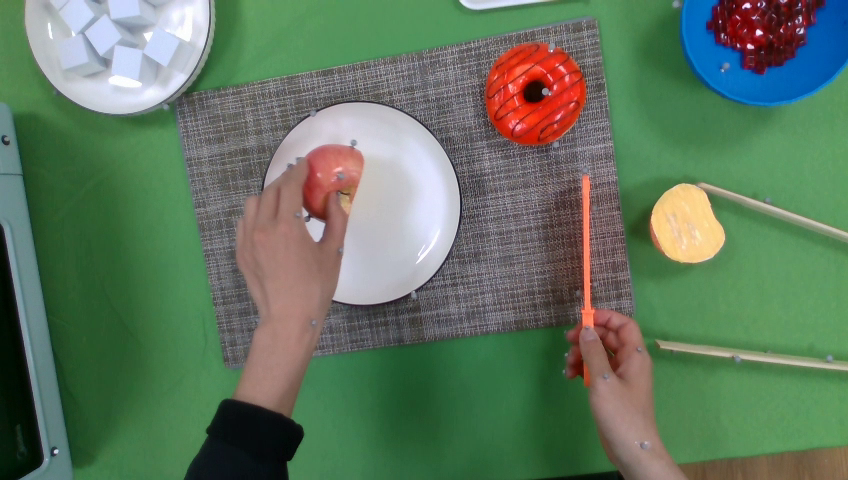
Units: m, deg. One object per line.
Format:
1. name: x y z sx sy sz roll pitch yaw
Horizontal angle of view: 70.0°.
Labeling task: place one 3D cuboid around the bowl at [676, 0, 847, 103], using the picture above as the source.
1. bowl: 0.299 -0.196 0.551 0.151 0.077 0.151 1 97 7

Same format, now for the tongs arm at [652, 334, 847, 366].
1. tongs arm: 0.423 0.101 0.590 0.384 0.026 0.051 7 93 5

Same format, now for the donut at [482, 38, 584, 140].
1. donut: 0.105 -0.147 0.592 0.099 0.048 0.099 1 97 9

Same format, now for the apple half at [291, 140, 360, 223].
1. apple half: -0.102 -0.062 0.592 0.054 0.074 0.081 11 115 -25

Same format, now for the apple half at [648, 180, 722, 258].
1. apple half: 0.248 -0.017 0.595 0.081 0.033 0.081 3 78 -14

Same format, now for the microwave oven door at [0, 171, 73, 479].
1. microwave oven door: -0.454 0.112 0.569 0.039 0.243 0.356 -6 95 7

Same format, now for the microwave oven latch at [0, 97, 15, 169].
1. microwave oven latch: -0.464 -0.115 0.649 0.030 0.029 0.079 -4 96 7

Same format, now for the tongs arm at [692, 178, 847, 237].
1. tongs arm: 0.442 0.016 0.582 0.387 0.028 0.028 22 90 3

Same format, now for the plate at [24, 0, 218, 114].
1. plate: -0.313 -0.236 0.638 0.207 0.039 0.208 1 96 7

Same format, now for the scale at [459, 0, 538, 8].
1. scale: 0.095 -0.336 0.583 0.148 0.031 0.201 -4 96 8

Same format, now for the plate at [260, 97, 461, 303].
1. plate: -0.064 -0.040 0.626 0.209 0.038 0.209 1 96 6

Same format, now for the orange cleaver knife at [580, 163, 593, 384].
1. orange cleaver knife: 0.158 0.031 0.589 0.012 0.077 0.211 -1 96 15

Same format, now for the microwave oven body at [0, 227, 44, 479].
1. microwave oven body: -0.602 0.084 0.589 0.326 0.260 0.442 -6 96 7
